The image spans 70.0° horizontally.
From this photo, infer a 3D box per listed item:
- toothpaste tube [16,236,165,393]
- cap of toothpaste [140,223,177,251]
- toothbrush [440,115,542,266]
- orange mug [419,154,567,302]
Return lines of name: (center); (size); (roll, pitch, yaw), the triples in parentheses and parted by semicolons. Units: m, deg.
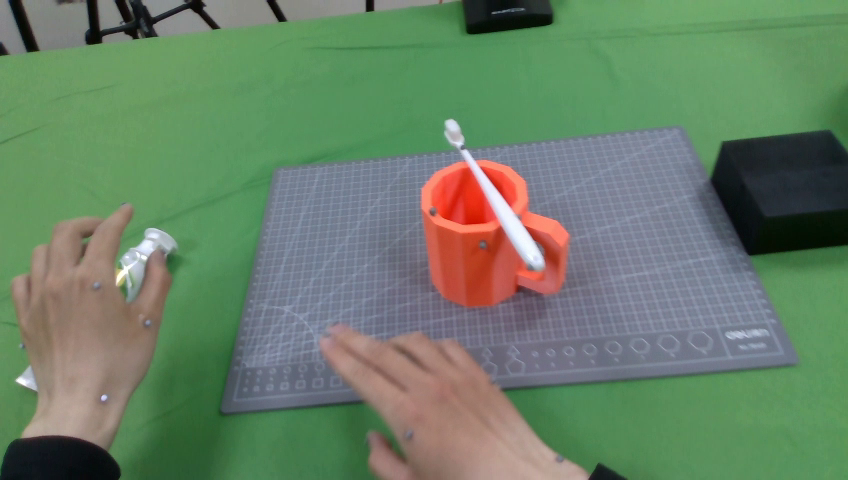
toothpaste tube: (-0.294, 0.059, 0.551); (0.055, 0.035, 0.164); (10, 53, 26)
cap of toothpaste: (-0.261, -0.002, 0.594); (0.037, 0.038, 0.011); (6, 48, 14)
toothbrush: (0.049, -0.046, 0.476); (0.014, 0.017, 0.179); (-17, 48, -11)
orange mug: (0.058, -0.005, 0.509); (0.125, 0.102, 0.083); (17, 52, 27)
